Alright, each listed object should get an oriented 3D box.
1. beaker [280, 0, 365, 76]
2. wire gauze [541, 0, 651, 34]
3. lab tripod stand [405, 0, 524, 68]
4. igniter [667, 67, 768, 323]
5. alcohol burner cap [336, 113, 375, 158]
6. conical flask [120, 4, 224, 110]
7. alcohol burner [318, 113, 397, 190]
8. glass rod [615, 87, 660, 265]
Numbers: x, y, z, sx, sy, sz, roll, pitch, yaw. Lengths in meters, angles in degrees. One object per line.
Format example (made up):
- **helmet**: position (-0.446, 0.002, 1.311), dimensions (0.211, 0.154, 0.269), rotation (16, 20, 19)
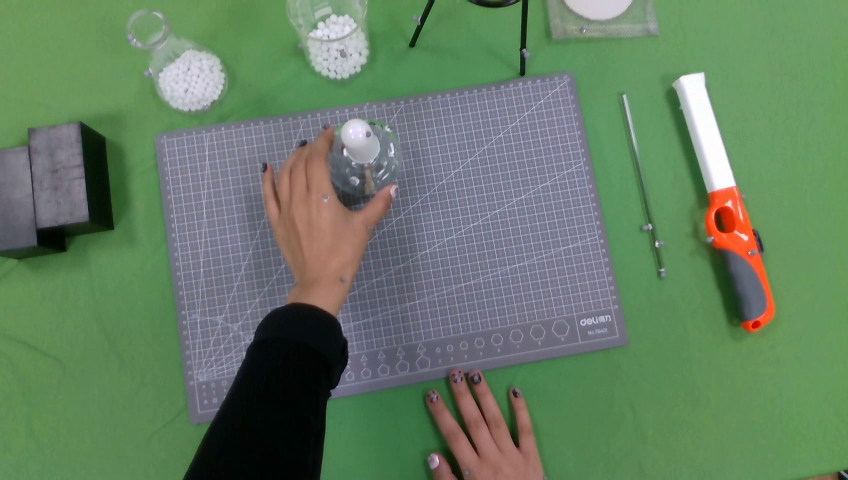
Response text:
- **beaker**: position (-0.095, -0.216, 0.608), dimensions (0.084, 0.100, 0.074), rotation (-37, 86, -7)
- **wire gauze**: position (0.187, -0.288, 0.675), dimensions (0.125, 0.011, 0.121), rotation (-5, 84, -5)
- **lab tripod stand**: position (0.052, -0.244, 0.601), dimensions (0.148, 0.131, 0.148), rotation (0, 85, -2)
- **igniter**: position (0.312, -0.050, 0.643), dimensions (0.057, 0.025, 0.275), rotation (-12, 84, -14)
- **alcohol burner cap**: position (-0.064, -0.097, 0.549), dimensions (0.034, 0.048, 0.033), rotation (-1, 78, 4)
- **conical flask**: position (-0.247, -0.180, 0.585), dimensions (0.075, 0.122, 0.075), rotation (0, 82, -2)
- **alcohol burner**: position (-0.065, -0.091, 0.585), dimensions (0.078, 0.119, 0.077), rotation (0, 81, -3)
- **glass rod**: position (0.230, -0.071, 0.652), dimensions (0.008, 0.008, 0.199), rotation (-10, 84, -4)
